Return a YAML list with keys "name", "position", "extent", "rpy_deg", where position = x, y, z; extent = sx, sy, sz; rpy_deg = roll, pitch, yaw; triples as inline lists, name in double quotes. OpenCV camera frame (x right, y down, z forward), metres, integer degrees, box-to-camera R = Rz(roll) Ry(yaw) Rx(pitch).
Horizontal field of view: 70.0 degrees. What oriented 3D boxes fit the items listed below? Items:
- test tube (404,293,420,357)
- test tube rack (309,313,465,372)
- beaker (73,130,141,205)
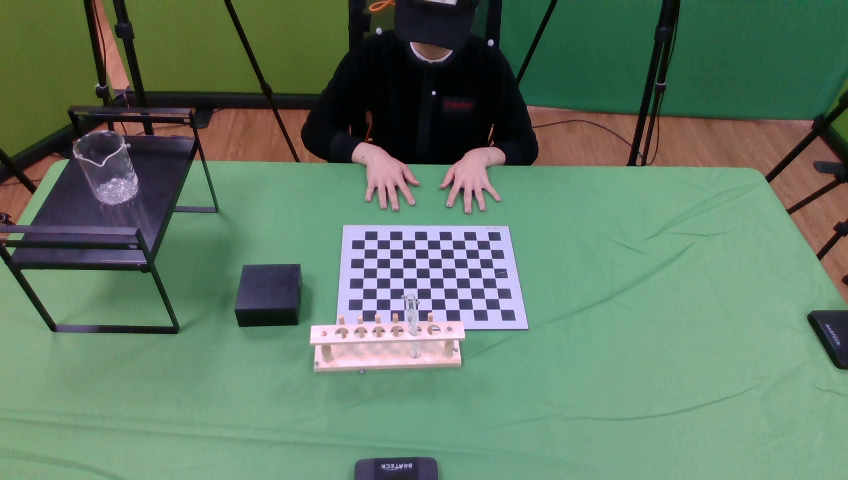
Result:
- name: "test tube"
  position: [-0.018, 0.136, 0.947]
  extent: [0.017, 0.151, 0.017]
  rpy_deg: [-2, 45, 2]
- name: "test tube rack"
  position: [-0.059, 0.161, 0.990]
  extent: [0.242, 0.085, 0.066]
  rpy_deg: [-1, 46, -5]
- name: "beaker"
  position: [-0.500, -0.110, 0.963]
  extent: [0.074, 0.101, 0.083]
  rpy_deg: [-14, 49, -16]
